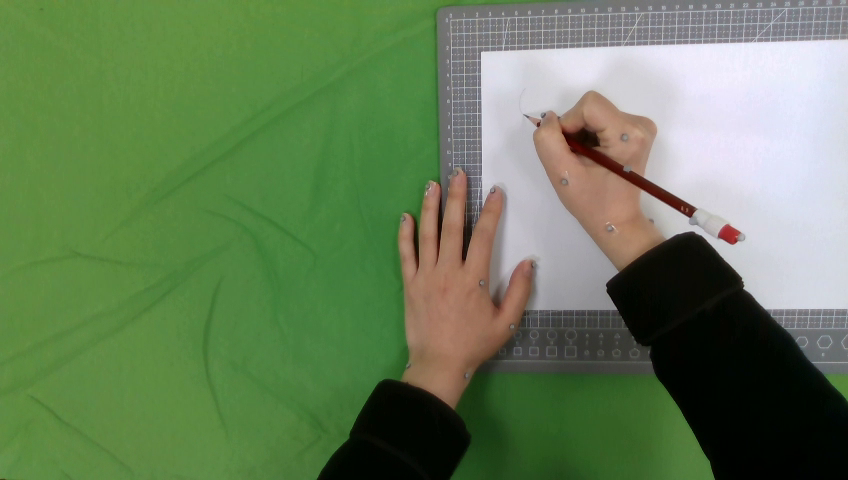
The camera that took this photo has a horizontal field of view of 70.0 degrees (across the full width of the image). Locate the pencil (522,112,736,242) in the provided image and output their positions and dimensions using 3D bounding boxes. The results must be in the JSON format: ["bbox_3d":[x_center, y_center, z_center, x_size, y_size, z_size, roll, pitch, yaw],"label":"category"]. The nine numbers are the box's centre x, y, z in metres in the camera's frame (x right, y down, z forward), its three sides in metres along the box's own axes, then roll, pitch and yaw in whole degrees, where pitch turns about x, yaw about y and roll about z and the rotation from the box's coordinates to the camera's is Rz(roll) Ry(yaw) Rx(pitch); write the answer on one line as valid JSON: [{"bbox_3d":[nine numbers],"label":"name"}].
[{"bbox_3d":[0.127,-0.051,0.413,0.012,0.192,0.012,-20,132,-24],"label":"pencil"}]
